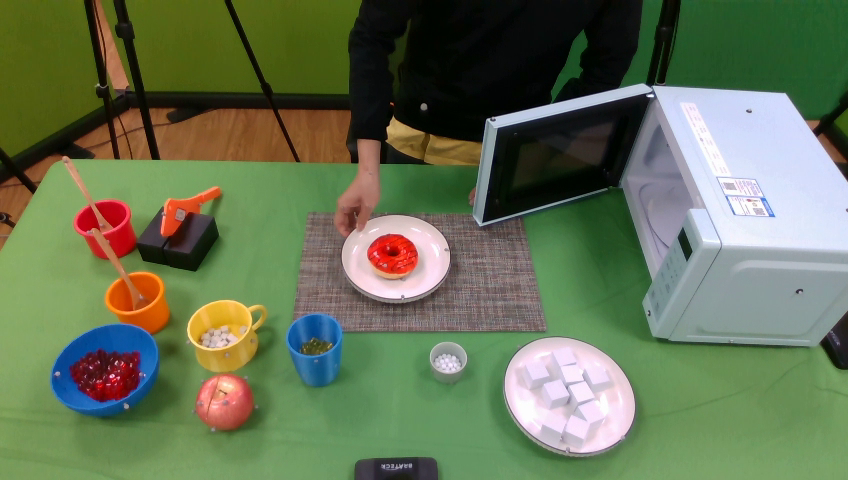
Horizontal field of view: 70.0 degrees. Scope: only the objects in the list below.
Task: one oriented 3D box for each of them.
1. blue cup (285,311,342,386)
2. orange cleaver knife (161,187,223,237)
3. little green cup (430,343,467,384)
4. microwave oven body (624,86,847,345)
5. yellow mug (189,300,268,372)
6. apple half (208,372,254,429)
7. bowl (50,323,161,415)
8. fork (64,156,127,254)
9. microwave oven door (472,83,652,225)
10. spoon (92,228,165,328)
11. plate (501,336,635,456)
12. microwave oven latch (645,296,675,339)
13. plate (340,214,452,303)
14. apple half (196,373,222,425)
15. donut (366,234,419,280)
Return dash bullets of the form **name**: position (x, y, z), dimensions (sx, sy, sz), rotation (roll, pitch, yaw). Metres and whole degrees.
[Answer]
- **blue cup**: position (-0.170, 0.179, 0.958), dimensions (0.093, 0.101, 0.092), rotation (1, 44, -1)
- **orange cleaver knife**: position (-0.448, -0.058, 1.180), dimensions (0.012, 0.077, 0.211), rotation (13, 17, 6)
- **little green cup**: position (0.038, 0.203, 0.994), dimensions (0.061, 0.039, 0.061), rotation (2, 46, -2)
- **microwave oven body**: position (0.567, -0.053, 1.118), dimensions (0.326, 0.261, 0.439), rotation (2, 45, -1)
- **yellow mug**: position (-0.315, 0.149, 1.001), dimensions (0.131, 0.064, 0.099), rotation (-33, 55, -31)
- **apple half**: position (-0.282, 0.244, 0.908), dimensions (0.053, 0.075, 0.080), rotation (7, 43, -1)
- **bowl**: position (-0.472, 0.209, 0.924), dimensions (0.151, 0.077, 0.150), rotation (3, 45, -2)
- **fork**: position (-0.614, -0.064, 1.130), dimensions (0.028, 0.018, 0.207), rotation (-29, 97, -16)
- **microwave oven door**: position (0.272, -0.170, 1.205), dimensions (0.356, 0.245, 0.039), rotation (-16, 49, -18)
- **spoon**: position (-0.496, 0.063, 1.014), dimensions (0.041, 0.194, 0.021), rotation (-33, 12, -31)
- **plate**: position (0.225, 0.248, 0.963), dimensions (0.208, 0.039, 0.206), rotation (2, 46, -2)
- **microwave oven latch**: position (0.412, 0.134, 1.061), dimensions (0.030, 0.029, 0.078), rotation (3, 45, 0)
- **plate**: position (-0.052, 0.038, 1.137), dimensions (0.209, 0.038, 0.208), rotation (2, 49, -2)
- **apple half**: position (-0.322, 0.240, 0.907), dimensions (0.033, 0.081, 0.081), rotation (7, 46, 0)
- **donut**: position (-0.058, 0.031, 1.128), dimensions (0.099, 0.048, 0.098), rotation (4, 48, -4)
